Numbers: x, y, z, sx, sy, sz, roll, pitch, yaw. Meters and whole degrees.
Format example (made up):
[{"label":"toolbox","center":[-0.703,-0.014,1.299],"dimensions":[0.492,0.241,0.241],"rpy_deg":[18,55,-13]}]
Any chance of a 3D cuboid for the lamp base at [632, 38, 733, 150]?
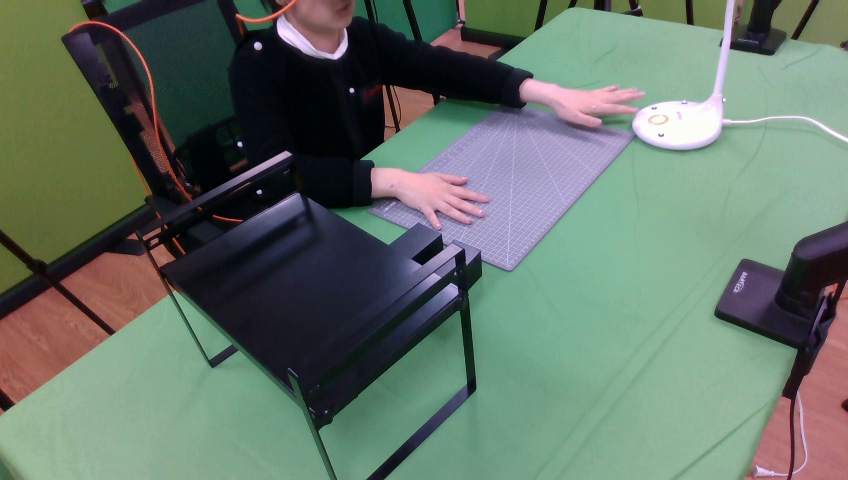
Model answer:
[{"label":"lamp base","center":[0.486,-0.280,1.108],"dimensions":[0.179,0.181,0.159],"rpy_deg":[-5,41,-1]}]
